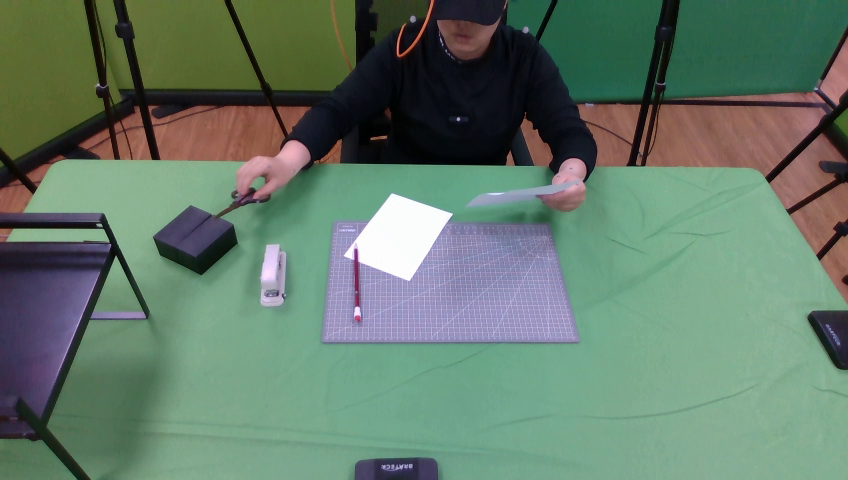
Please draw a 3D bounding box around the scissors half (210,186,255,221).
[{"bbox_3d":[-0.364,-0.069,1.142,0.040,0.013,0.174,11,24,0],"label":"scissors half"}]

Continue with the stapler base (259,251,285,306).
[{"bbox_3d":[-0.279,0.064,1.113,0.041,0.024,0.129,-1,44,-9],"label":"stapler base"}]

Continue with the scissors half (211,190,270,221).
[{"bbox_3d":[-0.345,-0.063,1.140,0.040,0.013,0.175,23,26,13],"label":"scissors half"}]

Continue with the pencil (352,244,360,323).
[{"bbox_3d":[-0.127,0.075,1.119,0.012,0.012,0.192,-3,44,-7],"label":"pencil"}]

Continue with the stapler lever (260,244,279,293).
[{"bbox_3d":[-0.279,0.045,1.096,0.027,0.040,0.117,-1,44,-9],"label":"stapler lever"}]
